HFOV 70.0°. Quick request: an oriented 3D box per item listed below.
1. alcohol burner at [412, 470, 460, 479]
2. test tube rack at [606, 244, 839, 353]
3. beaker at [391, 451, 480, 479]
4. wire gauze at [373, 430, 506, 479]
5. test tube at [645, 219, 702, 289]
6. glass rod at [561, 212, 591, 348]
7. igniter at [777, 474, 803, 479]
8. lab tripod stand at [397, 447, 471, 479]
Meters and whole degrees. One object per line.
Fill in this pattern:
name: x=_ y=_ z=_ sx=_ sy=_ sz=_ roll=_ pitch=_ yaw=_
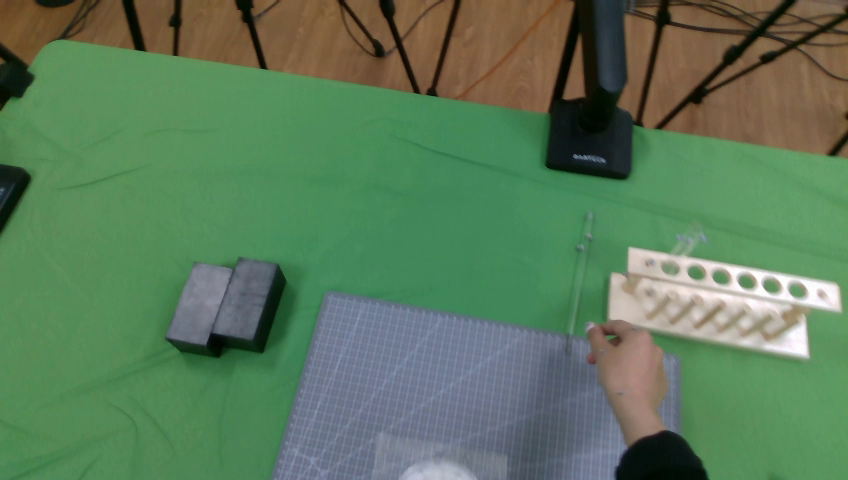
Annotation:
alcohol burner: x=0.015 y=0.270 z=0.614 sx=0.078 sy=0.120 sz=0.077 roll=1 pitch=62 yaw=-2
test tube rack: x=0.355 y=0.073 z=0.737 sx=0.242 sy=0.086 sz=0.066 roll=10 pitch=63 yaw=4
beaker: x=0.012 y=0.221 z=0.500 sx=0.084 sy=0.101 sz=0.073 roll=6 pitch=62 yaw=2
wire gauze: x=0.009 y=0.239 z=0.545 sx=0.125 sy=0.011 sz=0.120 roll=6 pitch=61 yaw=5
test tube: x=0.287 y=0.021 z=0.707 sx=0.017 sy=0.151 sz=0.017 roll=0 pitch=60 yaw=0
glass rod: x=0.200 y=0.048 z=0.789 sx=0.008 sy=0.008 sz=0.198 roll=15 pitch=65 yaw=6
igniter: x=0.369 y=0.381 z=0.616 sx=0.057 sy=0.025 sz=0.275 roll=21 pitch=65 yaw=-2
lab tripod stand: x=0.009 y=0.271 z=0.602 sx=0.148 sy=0.132 sz=0.147 roll=0 pitch=62 yaw=1
